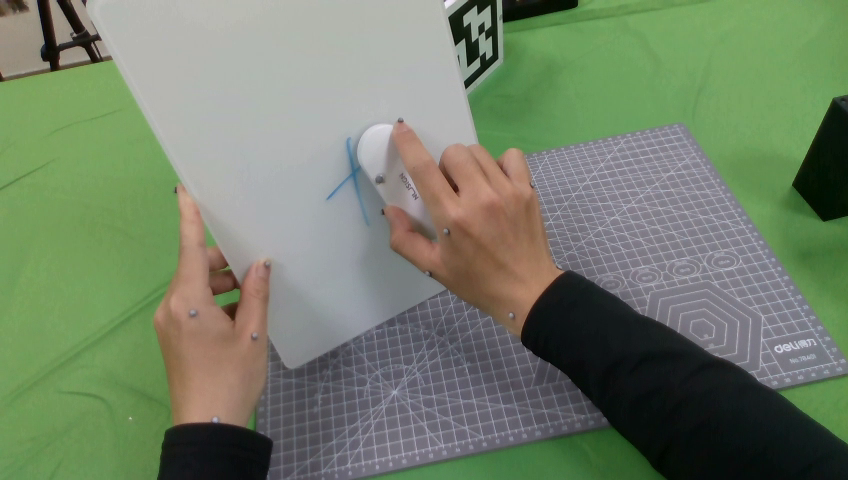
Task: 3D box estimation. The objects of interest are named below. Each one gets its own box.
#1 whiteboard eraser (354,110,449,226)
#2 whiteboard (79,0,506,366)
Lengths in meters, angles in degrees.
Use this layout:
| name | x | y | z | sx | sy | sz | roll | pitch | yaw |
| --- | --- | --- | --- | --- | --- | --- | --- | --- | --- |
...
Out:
| name | x | y | z | sx | sy | sz | roll | pitch | yaw |
| --- | --- | --- | --- | --- | --- | --- | --- | --- | --- |
| whiteboard eraser | -0.016 | -0.053 | 0.459 | 0.041 | 0.102 | 0.018 | -38 | 32 | -6 |
| whiteboard | -0.088 | -0.094 | 0.498 | 0.217 | 0.308 | 0.142 | -27 | 33 | -12 |
